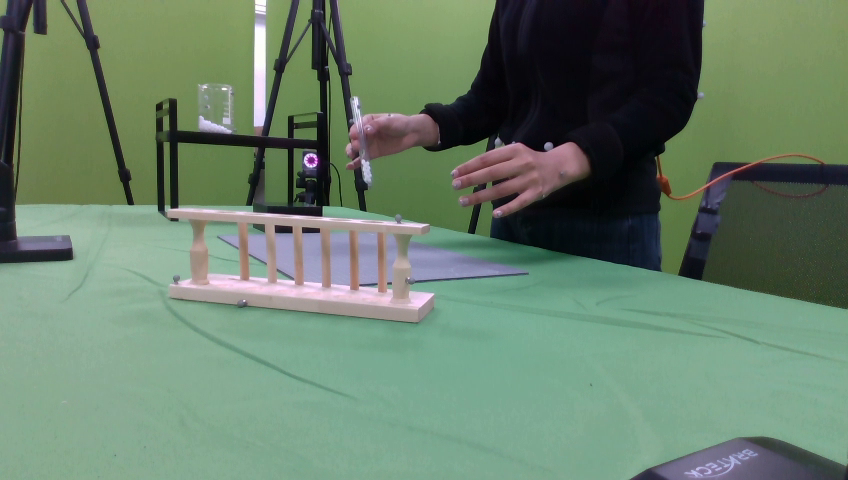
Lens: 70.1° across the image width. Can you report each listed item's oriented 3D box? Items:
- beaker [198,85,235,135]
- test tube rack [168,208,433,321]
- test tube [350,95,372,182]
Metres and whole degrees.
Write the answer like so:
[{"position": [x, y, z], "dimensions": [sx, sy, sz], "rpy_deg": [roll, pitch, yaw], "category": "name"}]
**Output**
[{"position": [-0.439, -0.273, 1.275], "dimensions": [0.074, 0.100, 0.084], "rpy_deg": [5, 8, 19], "category": "beaker"}, {"position": [-0.116, 0.017, 0.574], "dimensions": [0.242, 0.085, 0.067], "rpy_deg": [4, 8, 13], "category": "test tube rack"}, {"position": [-0.104, -0.166, 0.985], "dimensions": [0.017, 0.150, 0.017], "rpy_deg": [-10, -12, -2], "category": "test tube"}]
